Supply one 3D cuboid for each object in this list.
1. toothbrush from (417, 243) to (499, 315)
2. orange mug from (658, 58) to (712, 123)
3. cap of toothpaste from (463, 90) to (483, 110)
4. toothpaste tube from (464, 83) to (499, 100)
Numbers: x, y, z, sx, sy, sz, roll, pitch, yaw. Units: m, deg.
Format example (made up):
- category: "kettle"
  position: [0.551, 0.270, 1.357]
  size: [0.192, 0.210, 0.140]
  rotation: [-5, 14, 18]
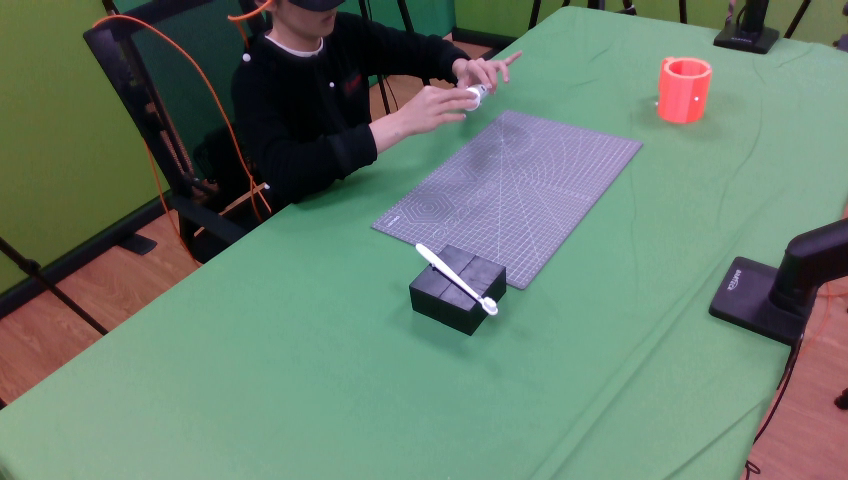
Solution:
- category: "toothbrush"
  position: [0.043, 0.049, 0.842]
  size: [0.014, 0.017, 0.180]
  rotation: [-31, 45, -21]
- category: "orange mug"
  position: [0.504, -0.304, 1.193]
  size: [0.083, 0.101, 0.125]
  rotation: [-13, 45, -5]
- category: "cap of toothpaste"
  position: [0.088, -0.253, 1.090]
  size: [0.037, 0.037, 0.011]
  rotation: [-12, 34, -6]
- category: "toothpaste tube"
  position: [0.108, -0.287, 1.166]
  size: [0.055, 0.034, 0.165]
  rotation: [2, 24, 14]
